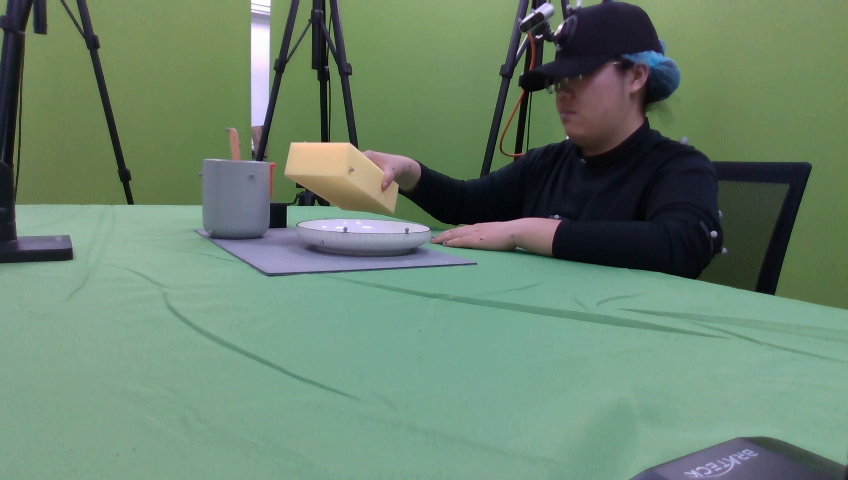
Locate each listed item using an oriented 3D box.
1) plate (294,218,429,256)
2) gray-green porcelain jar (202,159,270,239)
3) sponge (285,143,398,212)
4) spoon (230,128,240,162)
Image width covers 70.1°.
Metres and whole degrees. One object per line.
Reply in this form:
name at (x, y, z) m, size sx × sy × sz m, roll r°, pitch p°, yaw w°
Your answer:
plate at (-0.096, -0.005, 0.936) m, size 0.208 × 0.039 × 0.207 m, roll 3°, pitch 7°, yaw 0°
gray-green porcelain jar at (-0.310, -0.068, 0.999) m, size 0.106 × 0.126 × 0.106 m, roll 3°, pitch 8°, yaw 0°
sponge at (-0.143, -0.110, 1.098) m, size 0.118 × 0.061 × 0.207 m, roll 4°, pitch -13°, yaw 22°
spoon at (-0.314, -0.109, 1.025) m, size 0.042 × 0.193 × 0.021 m, roll -5°, pitch -19°, yaw -16°
